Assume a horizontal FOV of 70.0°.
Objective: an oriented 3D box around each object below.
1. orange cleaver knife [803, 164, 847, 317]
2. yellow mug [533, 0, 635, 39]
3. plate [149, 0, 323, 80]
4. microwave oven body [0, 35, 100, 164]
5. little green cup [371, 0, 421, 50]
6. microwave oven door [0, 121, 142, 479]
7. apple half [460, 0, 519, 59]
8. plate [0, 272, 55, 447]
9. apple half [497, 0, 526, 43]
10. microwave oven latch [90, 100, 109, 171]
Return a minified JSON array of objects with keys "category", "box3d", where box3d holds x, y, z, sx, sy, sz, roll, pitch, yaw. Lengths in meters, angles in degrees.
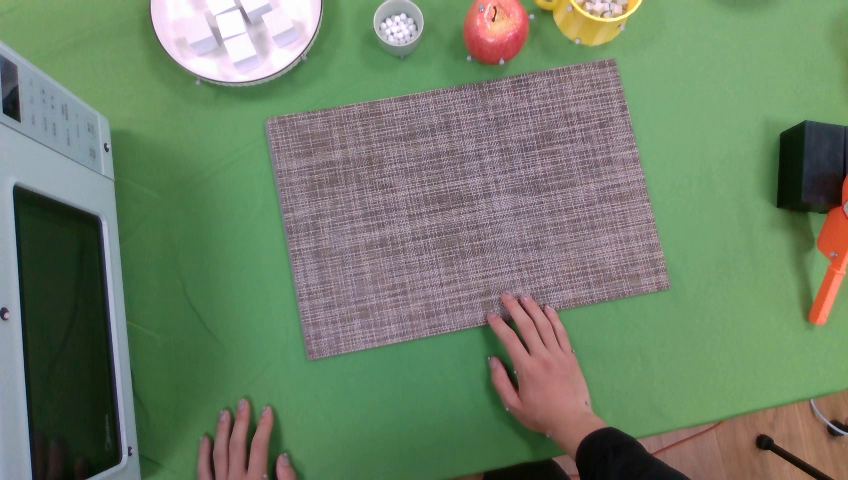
[{"category":"orange cleaver knife","box3d":[0.493,-0.009,0.724,0.012,0.076,0.212,8,115,1]},{"category":"yellow mug","box3d":[0.197,-0.312,0.757,0.131,0.064,0.099,0,83,-2]},{"category":"plate","box3d":[-0.228,-0.293,0.748,0.208,0.039,0.207,0,83,-3]},{"category":"microwave oven body","box3d":[-0.503,0.062,0.578,0.326,0.260,0.440,-8,84,-4]},{"category":"little green cup","box3d":[-0.035,-0.269,0.755,0.061,0.039,0.061,0,83,-2]},{"category":"microwave oven door","box3d":[-0.352,0.083,0.578,0.039,0.244,0.354,-8,83,-3]},{"category":"apple half","box3d":[0.072,-0.256,0.741,0.053,0.074,0.081,-37,90,-2]},{"category":"plate","box3d":[-0.485,0.125,0.623,0.209,0.038,0.208,0,84,-4]},{"category":"apple half","box3d":[0.103,-0.280,0.744,0.033,0.081,0.081,-38,86,-2]},{"category":"microwave oven latch","box3d":[-0.385,-0.120,0.702,0.030,0.029,0.079,-6,84,-4]}]
